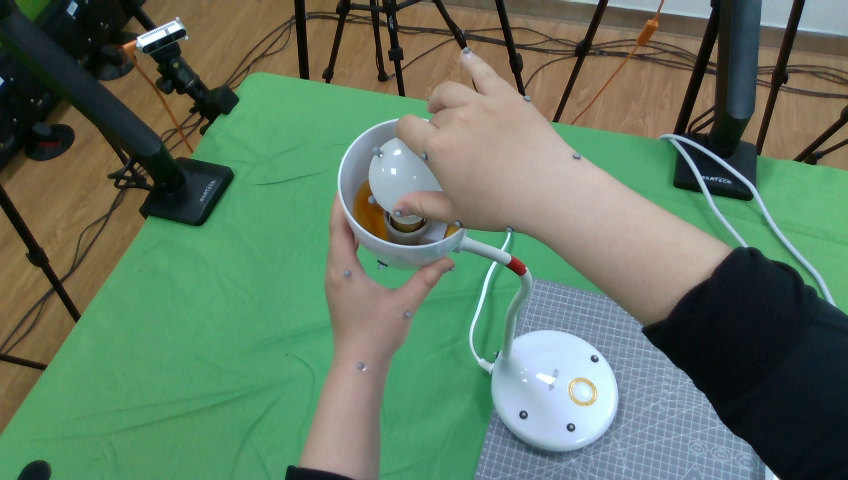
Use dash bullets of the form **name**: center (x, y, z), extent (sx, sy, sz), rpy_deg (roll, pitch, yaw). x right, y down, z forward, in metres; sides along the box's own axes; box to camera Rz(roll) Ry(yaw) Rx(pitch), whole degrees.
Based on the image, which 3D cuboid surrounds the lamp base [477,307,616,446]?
- **lamp base**: center (0.146, 0.141, 0.720), extent (0.178, 0.182, 0.159), rpy_deg (7, 57, 13)

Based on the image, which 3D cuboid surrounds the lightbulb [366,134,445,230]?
- **lightbulb**: center (-0.015, -0.038, 0.473), extent (0.059, 0.108, 0.059), rpy_deg (1, 65, -2)

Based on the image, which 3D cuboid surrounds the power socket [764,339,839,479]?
- **power socket**: center (0.450, 0.221, 0.728), extent (0.072, 0.033, 0.225), rpy_deg (12, 58, 12)

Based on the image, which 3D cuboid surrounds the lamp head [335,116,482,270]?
- **lamp head**: center (-0.010, -0.023, 0.503), extent (0.112, 0.124, 0.111), rpy_deg (-1, 65, 2)
